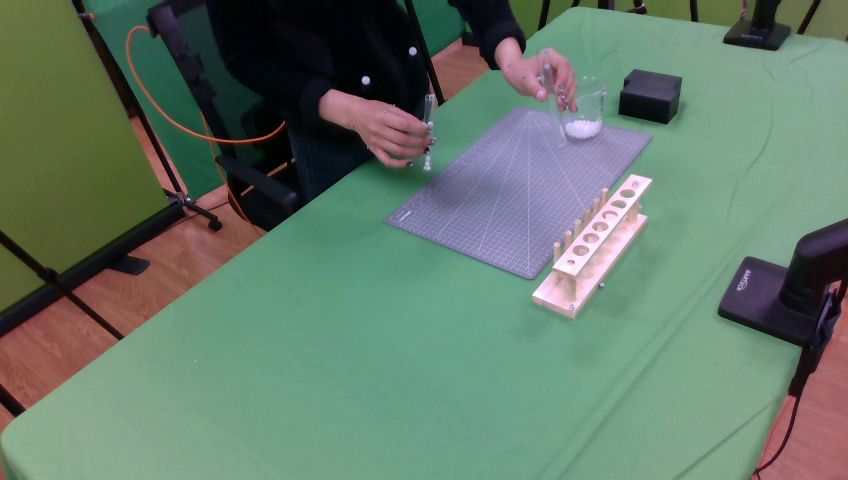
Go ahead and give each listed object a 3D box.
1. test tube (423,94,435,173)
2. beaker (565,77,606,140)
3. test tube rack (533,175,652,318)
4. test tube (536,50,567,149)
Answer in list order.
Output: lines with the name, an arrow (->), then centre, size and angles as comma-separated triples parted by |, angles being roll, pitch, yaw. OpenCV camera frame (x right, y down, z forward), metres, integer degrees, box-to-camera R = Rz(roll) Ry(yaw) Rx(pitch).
test tube -> 0.008, -0.169, 0.979 | 0.017, 0.151, 0.017 | 1, 45, -1
beaker -> 0.305, -0.247, 1.153 | 0.073, 0.101, 0.084 | 15, 46, 27
test tube rack -> 0.251, -0.001, 0.889 | 0.066, 0.085, 0.243 | 22, 49, 33
test tube -> 0.184, -0.199, 0.869 | 0.017, 0.151, 0.017 | -16, 30, 10
